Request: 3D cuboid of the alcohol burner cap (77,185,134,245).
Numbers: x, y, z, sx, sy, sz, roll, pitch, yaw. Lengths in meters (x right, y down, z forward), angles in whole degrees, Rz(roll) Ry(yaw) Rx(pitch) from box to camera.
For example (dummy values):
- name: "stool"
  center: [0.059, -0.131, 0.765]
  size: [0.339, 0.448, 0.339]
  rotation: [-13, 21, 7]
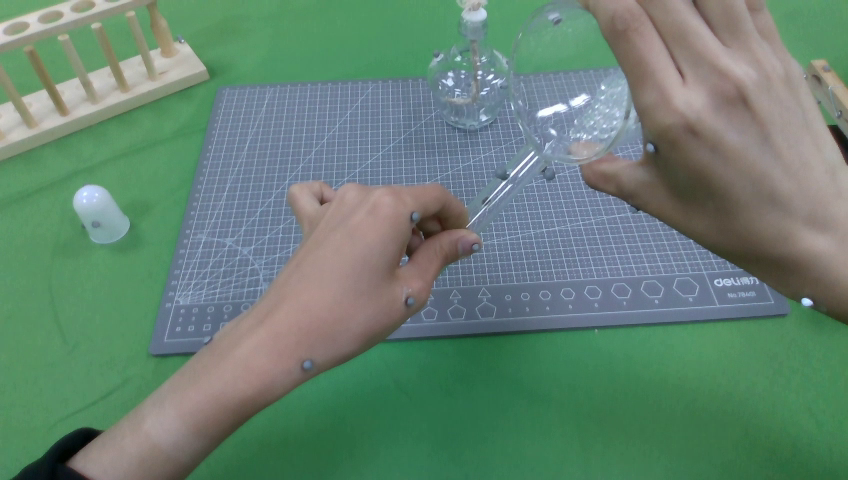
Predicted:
- name: "alcohol burner cap"
  center: [-0.256, -0.022, 0.480]
  size: [0.034, 0.048, 0.033]
  rotation: [-1, 51, 1]

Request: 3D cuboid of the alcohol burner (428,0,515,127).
- name: "alcohol burner"
  center: [0.042, -0.158, 0.527]
  size: [0.078, 0.120, 0.077]
  rotation: [0, 52, 0]

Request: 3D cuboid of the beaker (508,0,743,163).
- name: "beaker"
  center: [0.103, -0.086, 0.306]
  size: [0.100, 0.084, 0.073]
  rotation: [-23, 59, -30]

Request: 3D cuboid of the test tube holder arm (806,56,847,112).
- name: "test tube holder arm"
  center: [0.331, -0.117, 0.479]
  size: [0.015, 0.010, 0.087]
  rotation: [0, 50, -6]

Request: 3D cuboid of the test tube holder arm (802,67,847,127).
- name: "test tube holder arm"
  center: [0.334, -0.080, 0.454]
  size: [0.015, 0.013, 0.176]
  rotation: [0, 49, -6]

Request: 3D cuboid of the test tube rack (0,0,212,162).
- name: "test tube rack"
  center: [-0.335, -0.156, 0.561]
  size: [0.242, 0.086, 0.066]
  rotation: [-29, 56, -20]

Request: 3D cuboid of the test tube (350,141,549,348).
- name: "test tube"
  center: [0.010, 0.006, 0.329]
  size: [0.150, 0.017, 0.017]
  rotation: [-47, 55, 14]
